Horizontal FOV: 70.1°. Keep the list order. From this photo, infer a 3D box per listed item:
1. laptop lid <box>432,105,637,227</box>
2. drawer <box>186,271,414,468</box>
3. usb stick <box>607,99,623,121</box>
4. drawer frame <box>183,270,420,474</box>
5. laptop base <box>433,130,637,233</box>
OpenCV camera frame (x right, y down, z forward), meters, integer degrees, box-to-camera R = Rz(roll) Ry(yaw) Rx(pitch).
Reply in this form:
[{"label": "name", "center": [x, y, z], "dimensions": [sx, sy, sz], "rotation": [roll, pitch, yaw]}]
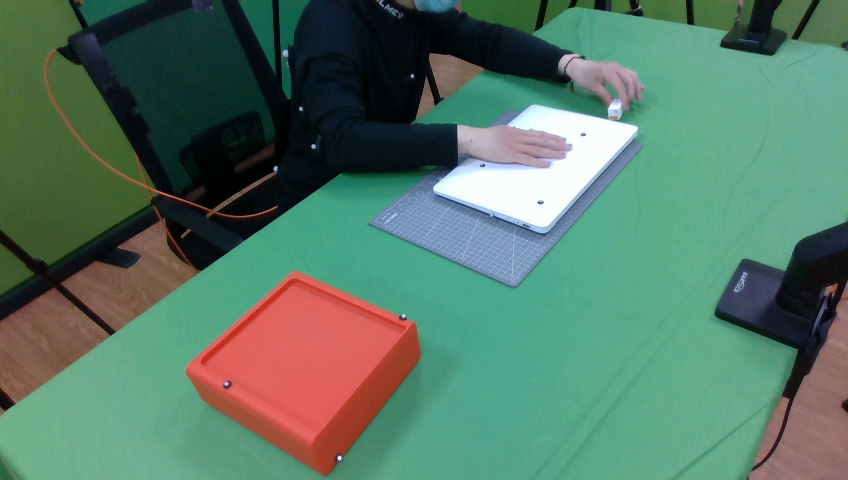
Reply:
[{"label": "laptop lid", "center": [0.207, -0.152, 1.105], "dimensions": [0.239, 0.013, 0.358], "rotation": [23, 49, 34]}, {"label": "drawer", "center": [-0.150, 0.153, 0.768], "dimensions": [0.210, 0.073, 0.195], "rotation": [20, 46, 28]}, {"label": "usb stick", "center": [0.378, -0.255, 1.201], "dimensions": [0.021, 0.027, 0.059], "rotation": [10, 46, 28]}, {"label": "drawer frame", "center": [-0.149, 0.153, 0.767], "dimensions": [0.212, 0.083, 0.202], "rotation": [20, 46, 27]}, {"label": "laptop base", "center": [0.210, -0.142, 1.111], "dimensions": [0.233, 0.023, 0.355], "rotation": [21, 47, 34]}]
